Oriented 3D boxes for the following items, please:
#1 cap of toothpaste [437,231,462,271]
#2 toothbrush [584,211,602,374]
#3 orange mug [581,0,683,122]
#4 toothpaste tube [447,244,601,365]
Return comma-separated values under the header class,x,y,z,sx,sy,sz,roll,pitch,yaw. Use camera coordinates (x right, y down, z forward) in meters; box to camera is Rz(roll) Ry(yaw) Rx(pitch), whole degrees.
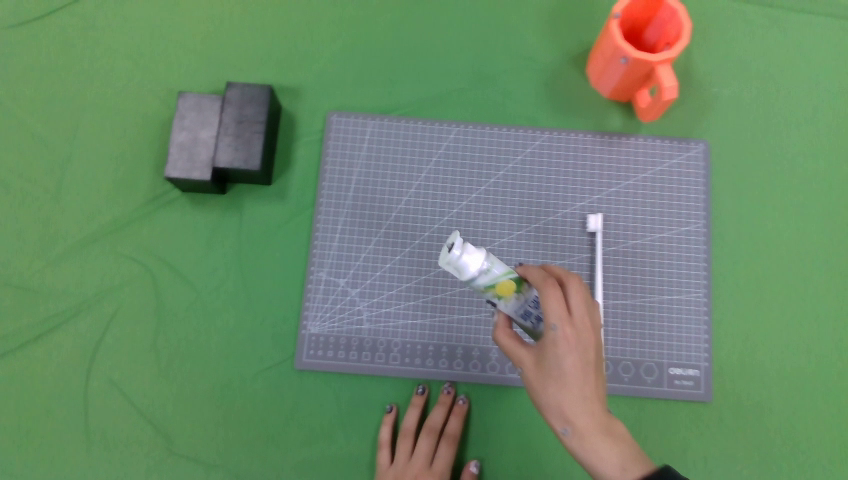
class,x,y,z,sx,sy,sz,roll,pitch,yaw
cap of toothpaste,0.023,0.010,0.522,0.011,0.037,0.037,25,78,-10
toothbrush,0.188,0.055,0.668,0.016,0.014,0.181,1,77,3
orange mug,0.239,-0.202,0.685,0.083,0.101,0.125,-17,73,-4
toothpaste tube,0.086,0.056,0.549,0.166,0.034,0.055,35,105,-18
